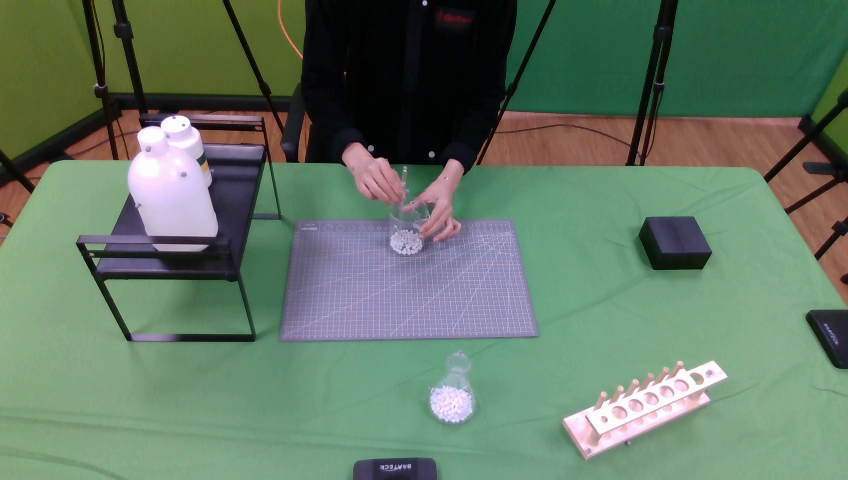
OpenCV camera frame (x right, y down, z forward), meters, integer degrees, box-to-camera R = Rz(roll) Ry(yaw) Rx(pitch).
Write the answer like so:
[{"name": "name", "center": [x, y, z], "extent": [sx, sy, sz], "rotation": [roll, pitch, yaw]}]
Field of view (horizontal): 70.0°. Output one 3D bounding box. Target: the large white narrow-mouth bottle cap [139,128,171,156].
[{"name": "large white narrow-mouth bottle cap", "center": [-0.358, -0.132, 0.808], "extent": [0.038, 0.024, 0.037], "rotation": [3, 47, -3]}]

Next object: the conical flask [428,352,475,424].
[{"name": "conical flask", "center": [0.046, 0.220, 0.920], "extent": [0.075, 0.122, 0.075], "rotation": [2, 46, -2]}]

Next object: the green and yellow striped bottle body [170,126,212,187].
[{"name": "green and yellow striped bottle body", "center": [-0.389, -0.139, 0.984], "extent": [0.063, 0.120, 0.063], "rotation": [2, 46, -2]}]

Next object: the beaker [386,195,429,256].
[{"name": "beaker", "center": [-0.031, -0.024, 1.161], "extent": [0.084, 0.101, 0.073], "rotation": [19, 48, 13]}]

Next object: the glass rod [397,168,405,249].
[{"name": "glass rod", "center": [-0.042, -0.053, 1.110], "extent": [0.008, 0.200, 0.008], "rotation": [3, 46, -3]}]

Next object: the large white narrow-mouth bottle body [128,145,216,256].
[{"name": "large white narrow-mouth bottle body", "center": [-0.366, -0.073, 0.872], "extent": [0.102, 0.195, 0.101], "rotation": [3, 47, -3]}]

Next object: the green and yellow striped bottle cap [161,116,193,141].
[{"name": "green and yellow striped bottle cap", "center": [-0.387, -0.174, 0.946], "extent": [0.045, 0.020, 0.045], "rotation": [3, 44, -3]}]

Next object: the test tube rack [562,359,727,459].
[{"name": "test tube rack", "center": [0.341, 0.247, 0.940], "extent": [0.243, 0.085, 0.066], "rotation": [-16, 49, -18]}]
